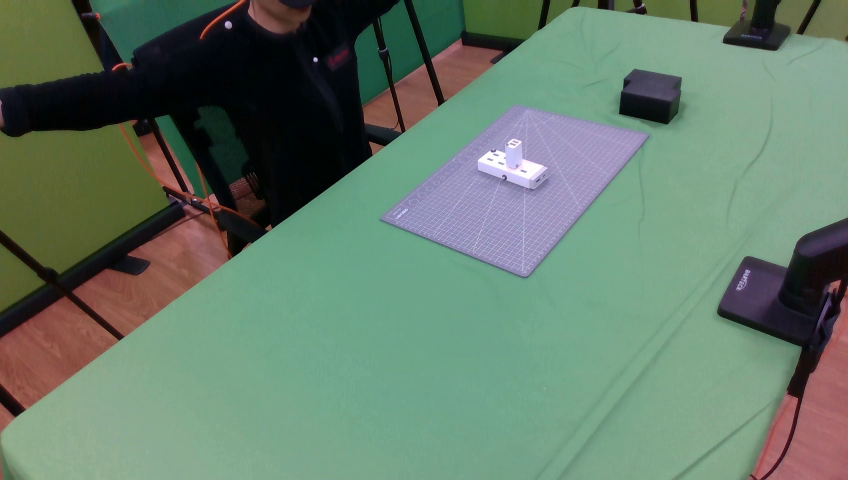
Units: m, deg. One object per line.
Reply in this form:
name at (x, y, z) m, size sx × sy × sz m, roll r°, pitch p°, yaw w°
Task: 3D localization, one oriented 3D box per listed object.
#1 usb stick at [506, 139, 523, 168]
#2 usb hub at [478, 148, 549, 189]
usb stick at (0.160, -0.148, 1.074) m, size 0.021 × 0.059 × 0.027 m, roll 24°, pitch 48°, yaw 33°
usb hub at (0.161, -0.131, 1.099) m, size 0.124 × 0.025 × 0.049 m, roll 26°, pitch 51°, yaw 34°
